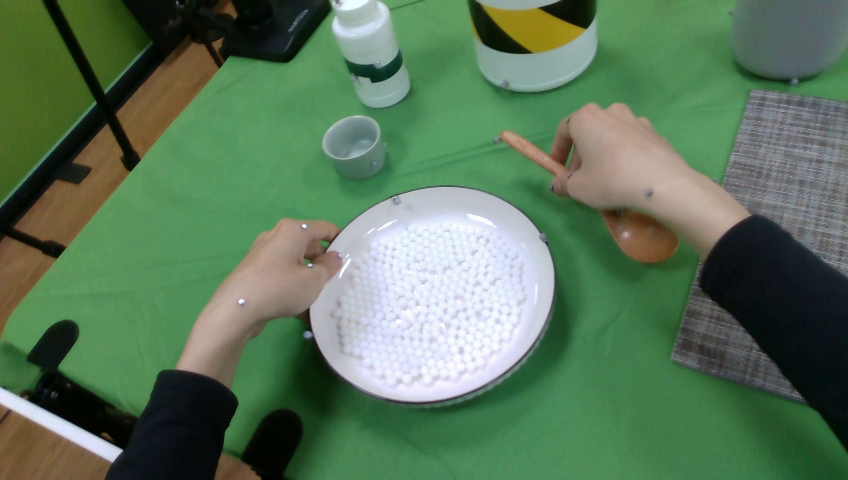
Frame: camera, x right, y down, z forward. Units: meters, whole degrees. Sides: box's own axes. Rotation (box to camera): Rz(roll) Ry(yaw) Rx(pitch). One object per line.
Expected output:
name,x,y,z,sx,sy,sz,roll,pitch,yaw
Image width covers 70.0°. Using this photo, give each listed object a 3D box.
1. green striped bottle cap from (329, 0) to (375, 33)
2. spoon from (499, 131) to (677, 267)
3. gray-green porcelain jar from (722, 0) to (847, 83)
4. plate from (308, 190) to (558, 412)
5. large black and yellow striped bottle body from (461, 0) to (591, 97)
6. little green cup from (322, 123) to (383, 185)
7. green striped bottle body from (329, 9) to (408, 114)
green striped bottle cap,-0.073,-0.232,0.619,0.044,0.020,0.044,-5,57,9
spoon,0.135,-0.043,0.524,0.041,0.022,0.192,-46,66,0
gray-green porcelain jar,0.339,-0.220,0.560,0.106,0.128,0.105,-7,54,10
plate,0.008,0.048,0.511,0.209,0.038,0.207,-6,54,9
large black and yellow striped bottle body,0.101,-0.254,0.611,0.130,0.186,0.129,-7,54,10
little green cup,-0.072,-0.088,0.632,0.061,0.039,0.061,-7,52,10
green striped bottle body,-0.062,-0.201,0.660,0.063,0.120,0.062,-8,53,11
